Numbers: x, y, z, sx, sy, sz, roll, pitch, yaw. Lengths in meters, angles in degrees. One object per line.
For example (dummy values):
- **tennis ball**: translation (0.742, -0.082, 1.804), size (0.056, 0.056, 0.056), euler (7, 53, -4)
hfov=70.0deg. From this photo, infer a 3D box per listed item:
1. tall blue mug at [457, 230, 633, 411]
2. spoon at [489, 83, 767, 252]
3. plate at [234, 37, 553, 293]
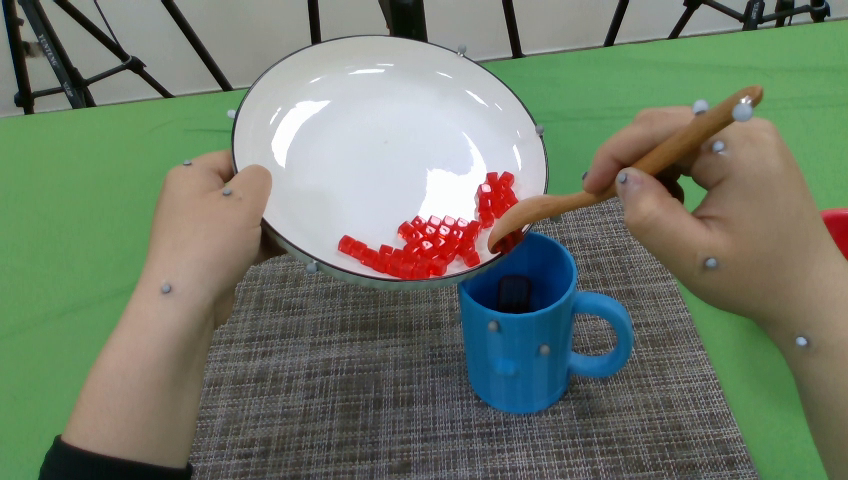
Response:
- **tall blue mug**: translation (0.080, 0.054, 0.418), size (0.107, 0.109, 0.077), euler (-11, 43, -1)
- **spoon**: translation (0.082, -0.025, 0.290), size (0.041, 0.193, 0.021), euler (-34, 92, -26)
- **plate**: translation (-0.018, -0.053, 0.410), size (0.208, 0.039, 0.205), euler (5, 58, -8)
